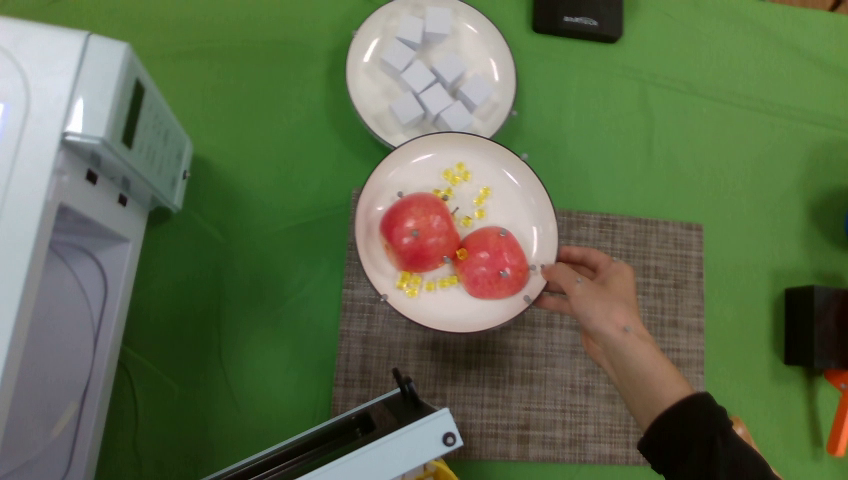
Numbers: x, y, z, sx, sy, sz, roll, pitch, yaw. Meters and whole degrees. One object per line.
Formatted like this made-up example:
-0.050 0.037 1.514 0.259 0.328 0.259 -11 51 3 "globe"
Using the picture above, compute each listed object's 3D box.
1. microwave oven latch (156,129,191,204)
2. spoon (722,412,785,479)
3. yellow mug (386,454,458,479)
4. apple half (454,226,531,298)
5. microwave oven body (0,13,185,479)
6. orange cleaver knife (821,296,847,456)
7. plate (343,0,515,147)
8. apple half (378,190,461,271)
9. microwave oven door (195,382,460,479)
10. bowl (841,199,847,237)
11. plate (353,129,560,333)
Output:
-0.273 -0.081 0.654 0.030 0.029 0.079 10 80 -8 "microwave oven latch"
0.424 0.286 0.735 0.193 0.021 0.041 48 60 1 "spoon"
-0.016 0.288 0.642 0.100 0.064 0.130 16 82 -6 "yellow mug"
0.070 0.021 0.606 0.081 0.033 0.081 1 74 -4 "apple half"
-0.426 0.054 0.509 0.327 0.260 0.440 8 81 -8 "microwave oven body"
0.515 0.158 0.739 0.012 0.077 0.212 7 104 -4 "orange cleaver knife"
0.006 -0.198 0.736 0.208 0.039 0.207 2 81 -9 "plate"
-0.004 -0.011 0.591 0.075 0.053 0.080 -21 83 -10 "apple half"
-0.154 0.220 0.522 0.356 0.244 0.039 -22 84 -12 "microwave oven door"
0.606 -0.031 0.785 0.152 0.077 0.151 1 81 -8 "bowl"
0.032 -0.008 0.612 0.209 0.038 0.208 2 77 -9 "plate"
